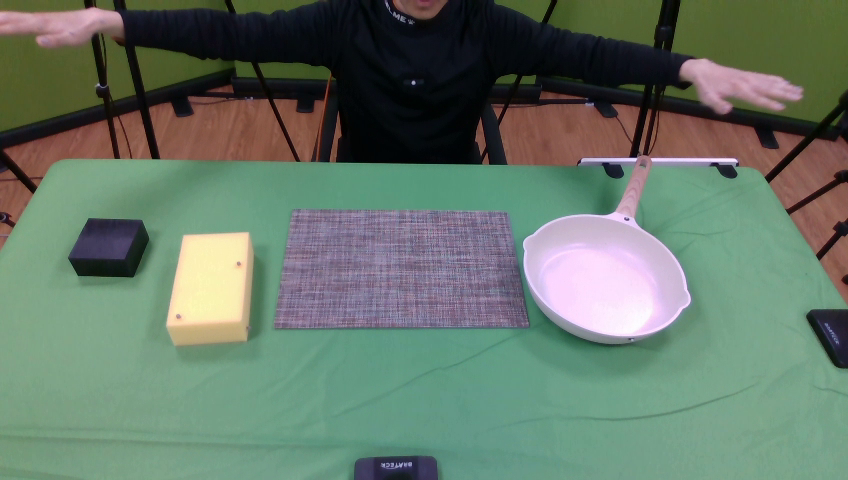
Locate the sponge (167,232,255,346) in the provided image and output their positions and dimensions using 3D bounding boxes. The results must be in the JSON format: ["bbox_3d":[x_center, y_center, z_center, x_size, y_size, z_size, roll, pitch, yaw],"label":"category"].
[{"bbox_3d":[-0.368,0.081,1.065,0.118,0.061,0.205,-4,46,-7],"label":"sponge"}]

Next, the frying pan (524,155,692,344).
[{"bbox_3d":[0.372,-0.002,1.167,0.306,0.103,0.486,22,57,16],"label":"frying pan"}]
